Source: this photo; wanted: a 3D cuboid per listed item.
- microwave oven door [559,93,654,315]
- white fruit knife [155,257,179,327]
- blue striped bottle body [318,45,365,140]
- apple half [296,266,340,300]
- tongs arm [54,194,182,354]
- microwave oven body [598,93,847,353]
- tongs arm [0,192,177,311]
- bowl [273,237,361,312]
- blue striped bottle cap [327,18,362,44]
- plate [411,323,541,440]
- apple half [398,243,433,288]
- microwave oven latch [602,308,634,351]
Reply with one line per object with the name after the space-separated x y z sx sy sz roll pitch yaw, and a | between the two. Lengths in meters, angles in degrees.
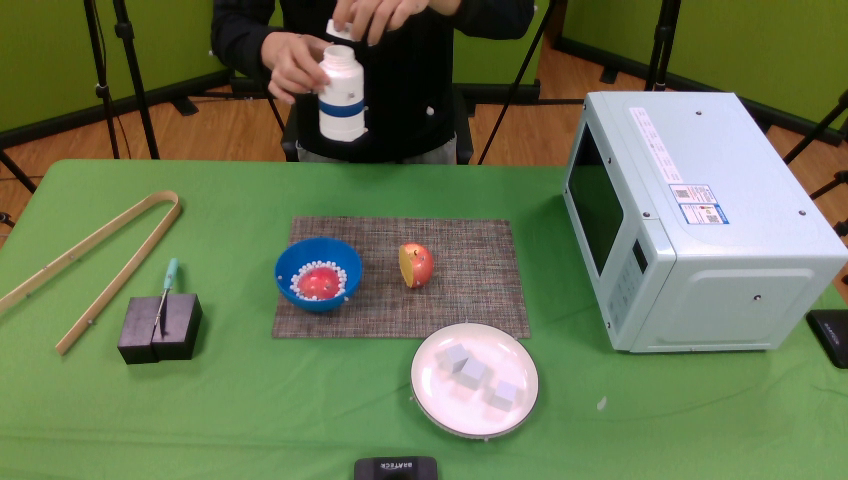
0.327 -0.074 1.123 0.039 0.245 0.353 -1 46 -5 | microwave oven door
-0.440 0.085 1.037 0.016 0.027 0.206 10 26 -19 | white fruit knife
-0.114 -0.205 0.841 0.063 0.121 0.062 3 38 -2 | blue striped bottle body
-0.187 0.070 1.067 0.081 0.033 0.081 2 48 -2 | apple half
-0.543 0.048 1.108 0.028 0.028 0.385 11 45 10 | tongs arm
0.475 -0.041 1.110 0.326 0.261 0.438 -1 45 -4 | microwave oven body
-0.618 0.019 1.124 0.050 0.026 0.384 24 47 16 | tongs arm
-0.186 0.074 1.069 0.151 0.077 0.150 3 46 -3 | bowl
-0.103 -0.275 0.795 0.044 0.021 0.044 13 28 -7 | blue striped bottle cap
0.082 0.228 0.976 0.208 0.039 0.206 2 45 -2 | plate
-0.012 0.046 1.115 0.053 0.075 0.080 -11 44 -19 | apple half
0.332 0.153 1.044 0.030 0.029 0.078 -1 45 -4 | microwave oven latch
